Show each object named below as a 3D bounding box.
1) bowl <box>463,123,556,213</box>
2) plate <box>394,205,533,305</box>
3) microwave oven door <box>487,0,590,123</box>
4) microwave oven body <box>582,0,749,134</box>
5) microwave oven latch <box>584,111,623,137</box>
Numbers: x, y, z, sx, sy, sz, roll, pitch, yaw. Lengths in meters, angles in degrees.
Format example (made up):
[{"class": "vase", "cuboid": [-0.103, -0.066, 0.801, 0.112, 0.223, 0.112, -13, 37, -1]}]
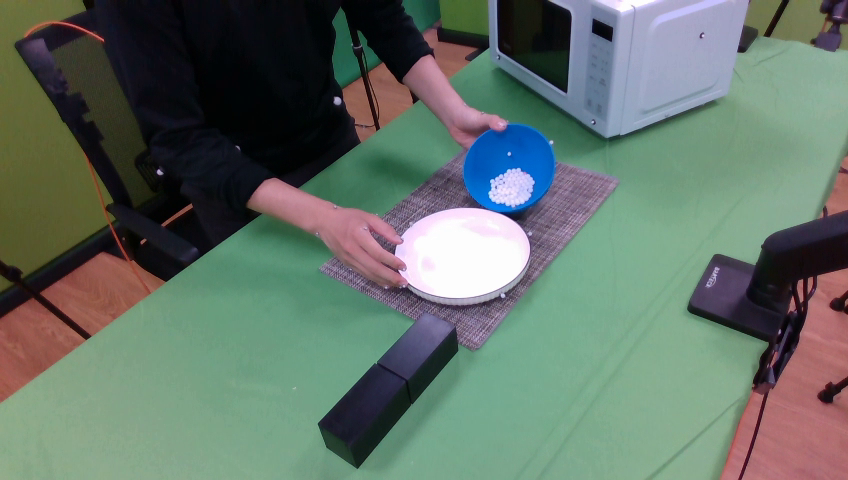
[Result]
[{"class": "bowl", "cuboid": [0.146, -0.107, 0.996, 0.151, 0.077, 0.151, -5, 74, 17]}, {"class": "plate", "cuboid": [0.059, 0.025, 0.915, 0.207, 0.039, 0.206, -4, 41, 4]}, {"class": "microwave oven door", "cuboid": [0.232, -0.420, 1.230, 0.039, 0.245, 0.352, -22, 43, -16]}, {"class": "microwave oven body", "cuboid": [0.382, -0.444, 1.246, 0.327, 0.261, 0.437, -22, 42, -16]}, {"class": "microwave oven latch", "cuboid": [0.337, -0.222, 1.142, 0.030, 0.029, 0.078, -21, 42, -14]}]
